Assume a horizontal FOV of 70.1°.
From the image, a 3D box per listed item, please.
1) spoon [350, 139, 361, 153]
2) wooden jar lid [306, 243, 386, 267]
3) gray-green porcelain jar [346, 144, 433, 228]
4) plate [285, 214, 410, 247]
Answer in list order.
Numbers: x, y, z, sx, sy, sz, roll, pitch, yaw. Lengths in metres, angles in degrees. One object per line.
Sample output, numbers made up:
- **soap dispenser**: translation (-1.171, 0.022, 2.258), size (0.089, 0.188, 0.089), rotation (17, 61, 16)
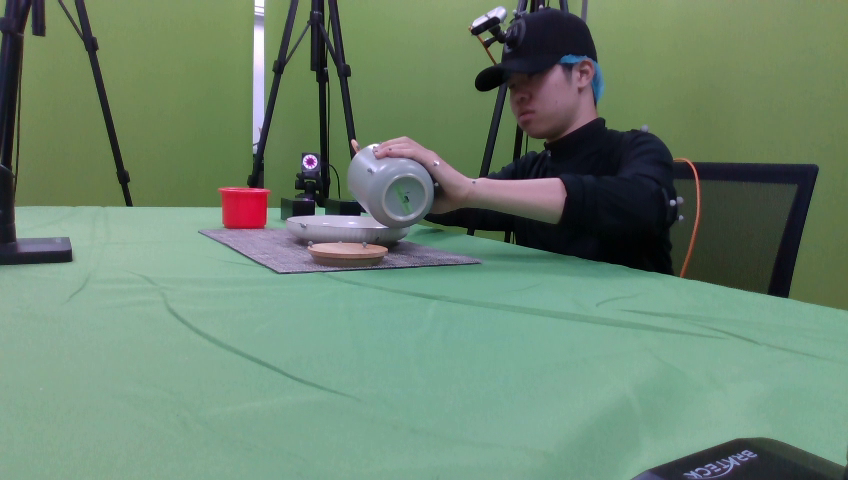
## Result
- **spoon**: translation (-0.076, -0.103, 0.956), size (0.042, 0.021, 0.193), rotation (12, 30, -47)
- **wooden jar lid**: translation (-0.105, 0.020, 0.816), size (0.108, 0.020, 0.108), rotation (1, 7, 0)
- **gray-green porcelain jar**: translation (-0.051, -0.080, 0.906), size (0.106, 0.106, 0.126), rotation (0, 20, -23)
- **plate**: translation (-0.127, -0.015, 1.012), size (0.208, 0.039, 0.207), rotation (3, 7, 0)
